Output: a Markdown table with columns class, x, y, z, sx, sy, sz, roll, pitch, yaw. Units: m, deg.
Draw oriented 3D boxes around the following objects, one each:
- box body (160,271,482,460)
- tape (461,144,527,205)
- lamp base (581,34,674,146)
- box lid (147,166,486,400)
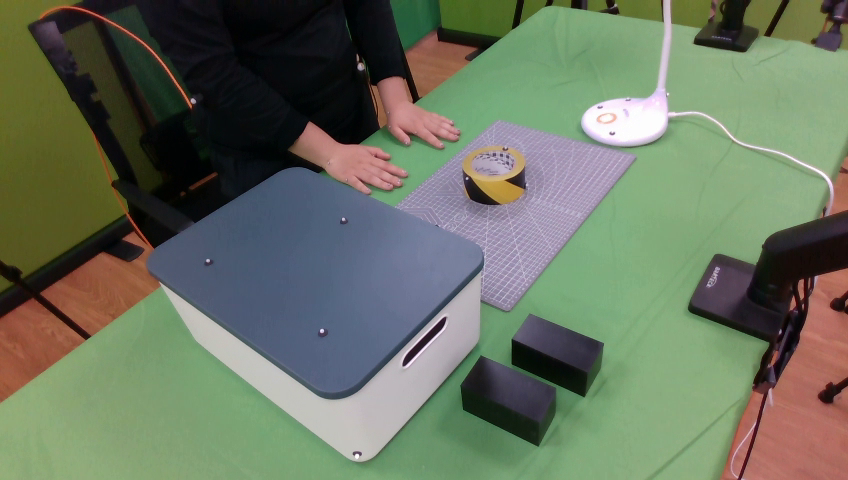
| class | x | y | z | sx | sy | sz | roll | pitch | yaw |
| --- | --- | --- | --- | --- | --- | --- | --- | --- | --- |
| box body | -0.130 | 0.079 | 0.787 | 0.361 | 0.161 | 0.255 | 25 | 50 | 32 |
| tape | 0.124 | -0.116 | 1.058 | 0.117 | 0.053 | 0.116 | -4 | 42 | 4 |
| lamp base | 0.392 | -0.291 | 1.129 | 0.180 | 0.181 | 0.159 | -11 | 41 | -8 |
| box lid | -0.136 | 0.025 | 0.738 | 0.368 | 0.015 | 0.264 | 25 | 50 | 32 |
